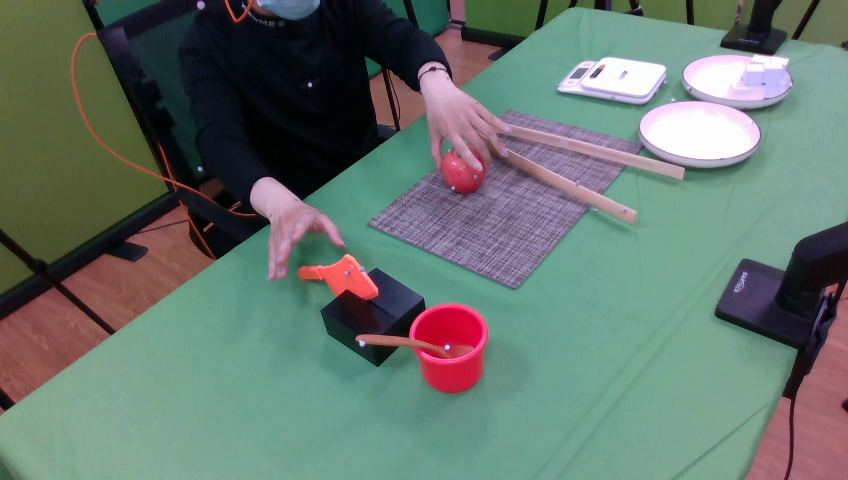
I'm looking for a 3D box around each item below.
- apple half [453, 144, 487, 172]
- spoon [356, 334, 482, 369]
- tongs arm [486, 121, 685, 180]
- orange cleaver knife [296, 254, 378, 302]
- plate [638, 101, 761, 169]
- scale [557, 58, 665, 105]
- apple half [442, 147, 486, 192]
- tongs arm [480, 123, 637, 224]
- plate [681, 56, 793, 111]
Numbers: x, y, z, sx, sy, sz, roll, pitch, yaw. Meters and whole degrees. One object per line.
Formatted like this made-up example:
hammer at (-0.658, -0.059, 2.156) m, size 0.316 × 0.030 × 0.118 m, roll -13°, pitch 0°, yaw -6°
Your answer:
apple half at (0.086, -0.142, 1.083) m, size 0.080 × 0.081 × 0.033 m, roll 22°, pitch 52°, yaw 30°
spoon at (-0.001, 0.130, 0.731) m, size 0.195 × 0.021 × 0.041 m, roll 21°, pitch 28°, yaw -39°
tongs arm at (0.287, -0.170, 1.124) m, size 0.384 × 0.028 × 0.028 m, roll 21°, pitch 52°, yaw 29°
orange cleaver knife at (-0.129, 0.058, 0.874) m, size 0.012 × 0.077 × 0.210 m, roll -37°, pitch 16°, yaw -30°
plate at (0.500, -0.189, 1.111) m, size 0.209 × 0.038 × 0.208 m, roll -4°, pitch 41°, yaw 4°
scale at (0.406, -0.348, 1.314) m, size 0.199 × 0.032 × 0.149 m, roll 19°, pitch 47°, yaw 28°
apple half at (0.064, -0.119, 1.061) m, size 0.080 × 0.075 × 0.053 m, roll 25°, pitch 53°, yaw 28°
tongs arm at (0.227, -0.128, 1.080) m, size 0.051 × 0.026 × 0.381 m, roll -33°, pitch 46°, yaw -26°
plate at (0.636, -0.317, 1.239) m, size 0.207 × 0.039 × 0.206 m, roll -4°, pitch 40°, yaw 4°
